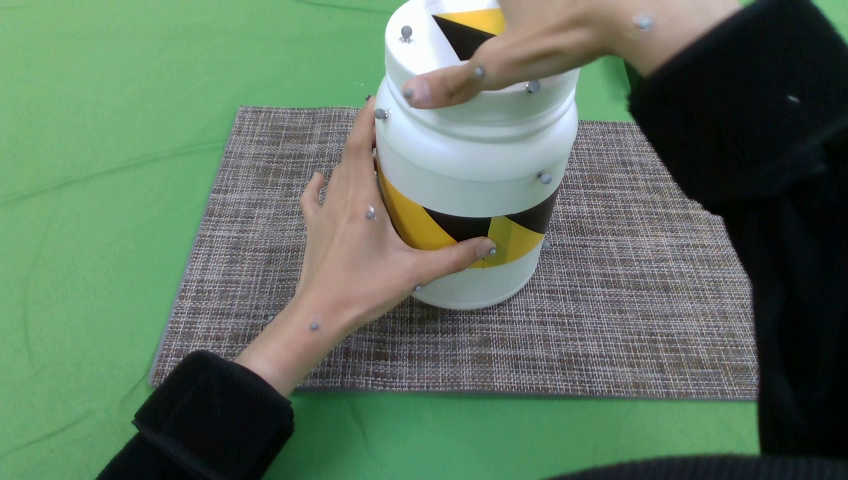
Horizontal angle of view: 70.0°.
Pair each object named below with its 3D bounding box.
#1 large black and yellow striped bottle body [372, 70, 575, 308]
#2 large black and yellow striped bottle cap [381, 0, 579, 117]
[{"bbox_3d":[0.030,-0.054,0.421,0.131,0.185,0.129,2,50,-2],"label":"large black and yellow striped bottle body"},{"bbox_3d":[0.032,-0.113,0.353,0.115,0.019,0.114,2,49,-2],"label":"large black and yellow striped bottle cap"}]
